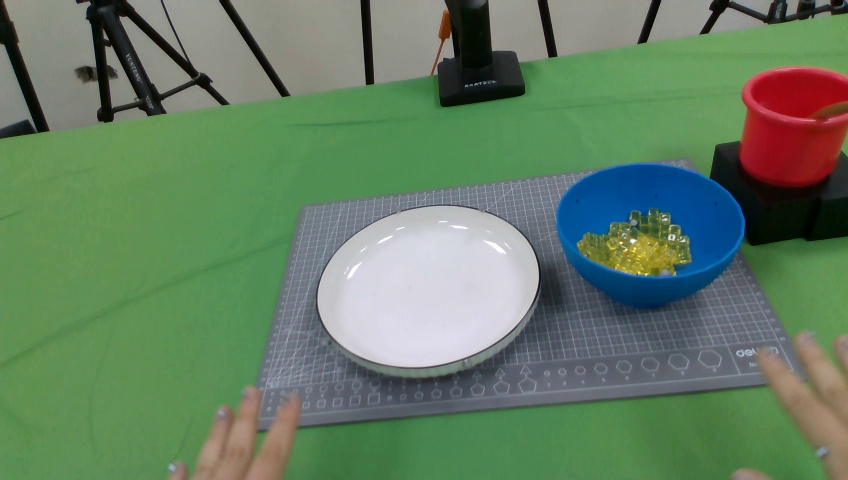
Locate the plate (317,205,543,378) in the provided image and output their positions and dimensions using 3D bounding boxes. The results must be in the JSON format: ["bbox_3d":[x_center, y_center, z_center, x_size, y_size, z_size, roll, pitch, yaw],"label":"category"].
[{"bbox_3d":[0.006,0.046,0.565,0.207,0.039,0.205,-6,42,6],"label":"plate"}]

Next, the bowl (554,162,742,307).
[{"bbox_3d":[0.192,0.006,0.536,0.151,0.077,0.150,-6,42,6],"label":"bowl"}]

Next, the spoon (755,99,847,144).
[{"bbox_3d":[0.326,-0.101,0.503,0.041,0.021,0.194,-1,-1,9],"label":"spoon"}]
